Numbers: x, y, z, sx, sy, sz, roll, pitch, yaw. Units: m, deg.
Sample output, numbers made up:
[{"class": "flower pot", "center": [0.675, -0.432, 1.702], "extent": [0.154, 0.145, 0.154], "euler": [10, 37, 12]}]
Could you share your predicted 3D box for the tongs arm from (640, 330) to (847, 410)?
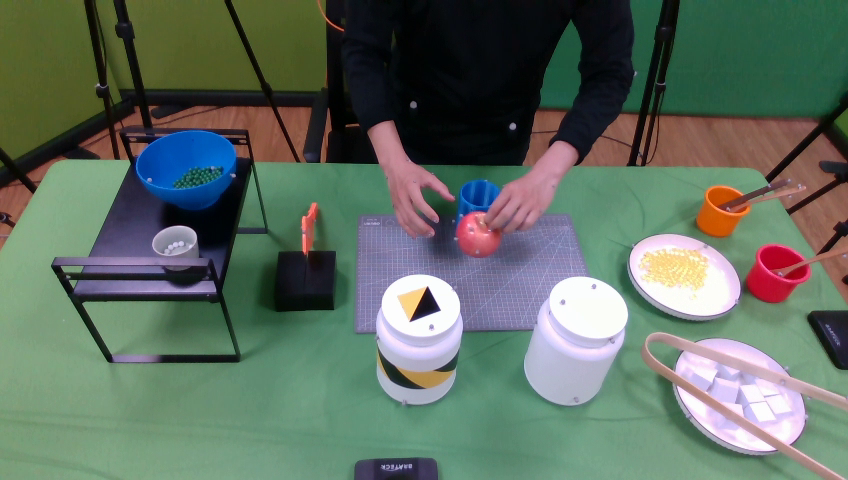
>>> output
[{"class": "tongs arm", "center": [0.543, 0.226, 0.969], "extent": [0.384, 0.026, 0.050], "euler": [22, 53, 13]}]

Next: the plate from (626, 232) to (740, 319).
[{"class": "plate", "center": [0.489, 0.070, 1.157], "extent": [0.209, 0.038, 0.208], "euler": [3, 46, -3]}]

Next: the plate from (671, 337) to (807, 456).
[{"class": "plate", "center": [0.503, 0.254, 0.984], "extent": [0.208, 0.039, 0.206], "euler": [2, 46, -2]}]

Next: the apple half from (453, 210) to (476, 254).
[{"class": "apple half", "center": [0.067, -0.014, 1.072], "extent": [0.033, 0.081, 0.081], "euler": [11, 45, -10]}]

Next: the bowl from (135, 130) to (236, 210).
[{"class": "bowl", "center": [-0.375, -0.102, 0.978], "extent": [0.151, 0.077, 0.150], "euler": [2, 46, -2]}]

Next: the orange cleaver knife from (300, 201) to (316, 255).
[{"class": "orange cleaver knife", "center": [-0.221, -0.027, 1.160], "extent": [0.012, 0.077, 0.210], "euler": [-2, 15, -4]}]

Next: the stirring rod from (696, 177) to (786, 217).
[{"class": "stirring rod", "center": [0.648, -0.087, 1.244], "extent": [0.176, 0.006, 0.014], "euler": [-25, 50, 29]}]

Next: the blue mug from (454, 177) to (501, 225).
[{"class": "blue mug", "center": [0.106, -0.068, 1.208], "extent": [0.082, 0.106, 0.116], "euler": [5, 46, 1]}]

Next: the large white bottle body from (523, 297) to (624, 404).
[{"class": "large white bottle body", "center": [0.235, 0.159, 0.952], "extent": [0.131, 0.185, 0.130], "euler": [2, 47, -2]}]

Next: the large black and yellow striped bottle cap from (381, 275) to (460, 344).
[{"class": "large black and yellow striped bottle cap", "center": [-0.005, 0.098, 0.875], "extent": [0.115, 0.019, 0.114], "euler": [2, 45, -2]}]

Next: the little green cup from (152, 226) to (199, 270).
[{"class": "little green cup", "center": [-0.364, 0.013, 0.894], "extent": [0.061, 0.039, 0.061], "euler": [3, 46, -3]}]

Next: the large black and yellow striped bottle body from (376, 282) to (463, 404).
[{"class": "large black and yellow striped bottle body", "center": [-0.010, 0.155, 0.937], "extent": [0.131, 0.185, 0.130], "euler": [2, 47, -2]}]

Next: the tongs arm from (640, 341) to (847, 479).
[{"class": "tongs arm", "center": [0.500, 0.278, 0.920], "extent": [0.386, 0.028, 0.028], "euler": [34, 59, 22]}]

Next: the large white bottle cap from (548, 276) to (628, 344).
[{"class": "large white bottle cap", "center": [0.240, 0.100, 0.890], "extent": [0.115, 0.018, 0.114], "euler": [3, 47, -3]}]

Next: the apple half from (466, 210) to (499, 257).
[{"class": "apple half", "center": [0.103, -0.007, 1.079], "extent": [0.053, 0.075, 0.080], "euler": [13, 41, -11]}]

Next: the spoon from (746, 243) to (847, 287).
[{"class": "spoon", "center": [0.702, 0.043, 1.126], "extent": [0.194, 0.022, 0.041], "euler": [-29, 38, 30]}]

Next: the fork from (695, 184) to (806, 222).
[{"class": "fork", "center": [0.658, -0.074, 1.229], "extent": [0.207, 0.019, 0.028], "euler": [-24, 34, 36]}]
